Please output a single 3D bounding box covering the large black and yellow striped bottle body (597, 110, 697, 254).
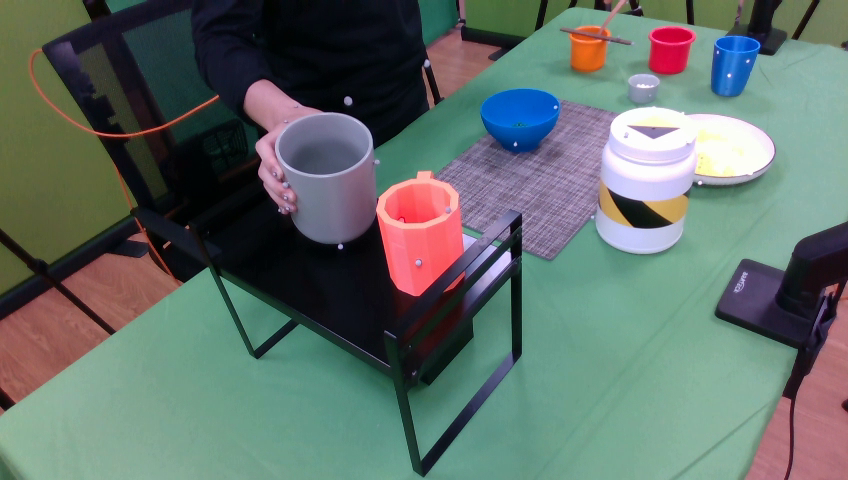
[{"bbox_3d":[0.331,-0.086,0.904,0.131,0.185,0.130,-5,41,4],"label":"large black and yellow striped bottle body"}]

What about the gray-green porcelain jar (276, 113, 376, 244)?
[{"bbox_3d":[-0.109,-0.066,0.706,0.106,0.127,0.105,1,51,-1],"label":"gray-green porcelain jar"}]

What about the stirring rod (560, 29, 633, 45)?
[{"bbox_3d":[0.381,-0.452,1.345,0.174,0.006,0.014,25,49,33],"label":"stirring rod"}]

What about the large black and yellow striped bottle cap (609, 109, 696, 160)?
[{"bbox_3d":[0.319,-0.150,0.849,0.115,0.019,0.114,-4,39,3],"label":"large black and yellow striped bottle cap"}]

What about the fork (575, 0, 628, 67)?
[{"bbox_3d":[0.413,-0.481,1.377,0.207,0.019,0.028,-56,43,12],"label":"fork"}]

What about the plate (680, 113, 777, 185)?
[{"bbox_3d":[0.506,-0.158,1.073,0.209,0.038,0.208,-5,40,4],"label":"plate"}]

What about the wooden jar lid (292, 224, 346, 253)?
[{"bbox_3d":[-0.169,-0.015,1.026,0.108,0.021,0.108,-4,40,4],"label":"wooden jar lid"}]

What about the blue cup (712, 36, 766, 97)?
[{"bbox_3d":[0.627,-0.350,1.227,0.092,0.100,0.092,-4,39,4],"label":"blue cup"}]

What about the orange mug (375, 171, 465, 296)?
[{"bbox_3d":[-0.001,-0.016,0.661,0.083,0.101,0.125,-2,45,8],"label":"orange mug"}]

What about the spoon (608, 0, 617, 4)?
[{"bbox_3d":[0.351,-0.553,1.159,0.022,0.194,0.041,-17,8,-15],"label":"spoon"}]

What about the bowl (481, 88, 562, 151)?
[{"bbox_3d":[0.187,-0.223,1.161,0.151,0.077,0.150,-4,40,4],"label":"bowl"}]

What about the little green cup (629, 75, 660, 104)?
[{"bbox_3d":[0.457,-0.313,1.260,0.061,0.039,0.061,-4,40,4],"label":"little green cup"}]
